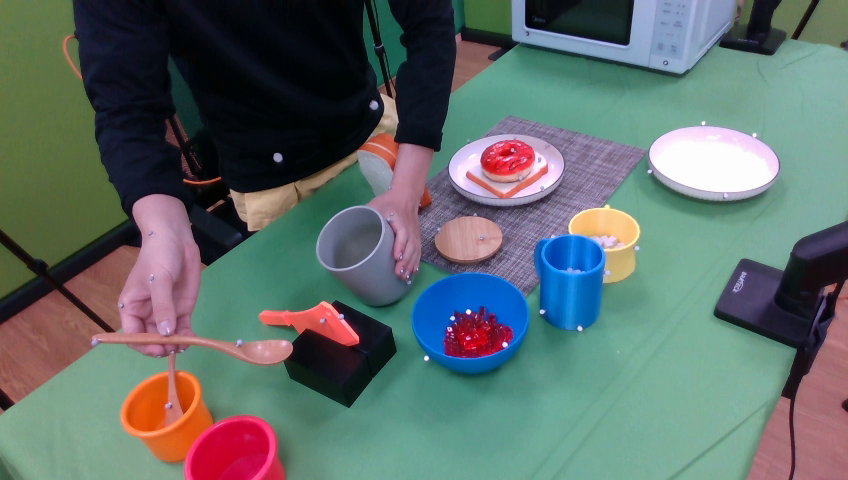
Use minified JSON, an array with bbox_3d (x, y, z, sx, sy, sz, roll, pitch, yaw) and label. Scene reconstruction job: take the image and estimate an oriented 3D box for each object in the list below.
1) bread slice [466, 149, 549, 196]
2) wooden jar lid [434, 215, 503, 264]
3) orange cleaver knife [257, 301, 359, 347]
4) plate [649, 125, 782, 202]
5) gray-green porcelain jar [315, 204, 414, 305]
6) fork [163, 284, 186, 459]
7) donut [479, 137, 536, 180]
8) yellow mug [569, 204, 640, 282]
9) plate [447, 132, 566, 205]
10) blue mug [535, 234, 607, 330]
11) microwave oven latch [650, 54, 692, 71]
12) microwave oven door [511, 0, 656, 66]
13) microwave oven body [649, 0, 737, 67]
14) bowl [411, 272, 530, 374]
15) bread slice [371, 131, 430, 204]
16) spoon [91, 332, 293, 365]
[{"bbox_3d":[0.156,-0.128,1.085,0.132,0.019,0.104,-34,48,-23],"label":"bread slice"},{"bbox_3d":[0.070,0.001,0.956,0.108,0.021,0.108,-4,40,4],"label":"wooden jar lid"},{"bbox_3d":[-0.160,0.115,0.813,0.210,0.077,0.012,-9,30,48],"label":"orange cleaver knife"},{"bbox_3d":[0.493,-0.127,1.036,0.207,0.039,0.206,-4,41,4],"label":"plate"},{"bbox_3d":[-0.078,0.026,0.859,0.105,0.127,0.105,-11,56,18],"label":"gray-green porcelain jar"},{"bbox_3d":[-0.303,0.157,0.733,0.028,0.019,0.207,-3,84,11],"label":"fork"},{"bbox_3d":[0.145,-0.143,1.056,0.099,0.048,0.098,-6,42,6],"label":"donut"},{"bbox_3d":[0.268,-0.005,0.904,0.099,0.064,0.130,7,41,15],"label":"yellow mug"},{"bbox_3d":[0.145,-0.124,1.076,0.209,0.038,0.208,-3,41,3],"label":"plate"},{"bbox_3d":[0.190,0.048,0.824,0.082,0.106,0.115,-26,44,-20],"label":"blue mug"},{"bbox_3d":[0.531,-0.386,1.301,0.078,0.029,0.030,25,51,33],"label":"microwave oven latch"},{"bbox_3d":[0.350,-0.539,1.348,0.353,0.245,0.039,24,50,31],"label":"microwave oven door"},{"bbox_3d":[0.475,-0.602,1.411,0.438,0.261,0.327,23,50,32],"label":"microwave oven body"},{"bbox_3d":[0.062,0.120,0.780,0.151,0.077,0.150,-4,40,4],"label":"bowl"},{"bbox_3d":[-0.044,-0.126,1.038,0.106,0.135,0.018,31,63,34],"label":"bread slice"},{"bbox_3d":[-0.233,0.107,0.624,0.195,0.021,0.041,13,24,-27],"label":"spoon"}]
